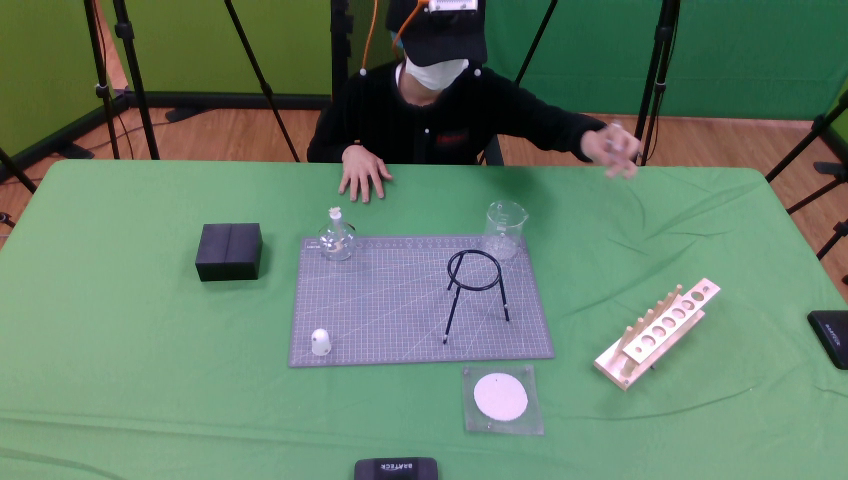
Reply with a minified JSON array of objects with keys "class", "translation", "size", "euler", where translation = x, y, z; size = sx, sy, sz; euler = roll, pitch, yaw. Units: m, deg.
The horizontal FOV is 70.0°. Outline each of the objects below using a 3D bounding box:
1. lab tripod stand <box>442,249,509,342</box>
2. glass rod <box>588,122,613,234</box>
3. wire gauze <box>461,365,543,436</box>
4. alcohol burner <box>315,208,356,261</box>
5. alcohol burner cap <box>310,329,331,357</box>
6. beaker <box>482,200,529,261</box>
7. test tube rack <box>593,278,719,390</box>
[{"class":"lab tripod stand","translation":[0.082,0.091,1.036],"size":[0.148,0.132,0.147],"euler":[3,44,-3]},{"class":"glass rod","translation":[0.279,-0.093,0.963],"size":[0.008,0.200,0.008],"euler":[1,34,0]},{"class":"wire gauze","translation":[0.124,0.254,0.973],"size":[0.125,0.011,0.120],"euler":[3,47,-3]},{"class":"alcohol burner","translation":[-0.166,-0.017,1.134],"size":[0.078,0.120,0.077],"euler":[2,48,-2]},{"class":"alcohol burner cap","translation":[-0.173,0.168,1.004],"size":[0.034,0.048,0.033],"euler":[2,46,-2]},{"class":"beaker","translation":[0.153,-0.015,1.169],"size":[0.084,0.101,0.073],"euler":[-2,46,-7]},{"class":"test tube rack","translation":[0.401,0.148,1.043],"size":[0.242,0.085,0.066],"euler":[-30,55,-29]}]
